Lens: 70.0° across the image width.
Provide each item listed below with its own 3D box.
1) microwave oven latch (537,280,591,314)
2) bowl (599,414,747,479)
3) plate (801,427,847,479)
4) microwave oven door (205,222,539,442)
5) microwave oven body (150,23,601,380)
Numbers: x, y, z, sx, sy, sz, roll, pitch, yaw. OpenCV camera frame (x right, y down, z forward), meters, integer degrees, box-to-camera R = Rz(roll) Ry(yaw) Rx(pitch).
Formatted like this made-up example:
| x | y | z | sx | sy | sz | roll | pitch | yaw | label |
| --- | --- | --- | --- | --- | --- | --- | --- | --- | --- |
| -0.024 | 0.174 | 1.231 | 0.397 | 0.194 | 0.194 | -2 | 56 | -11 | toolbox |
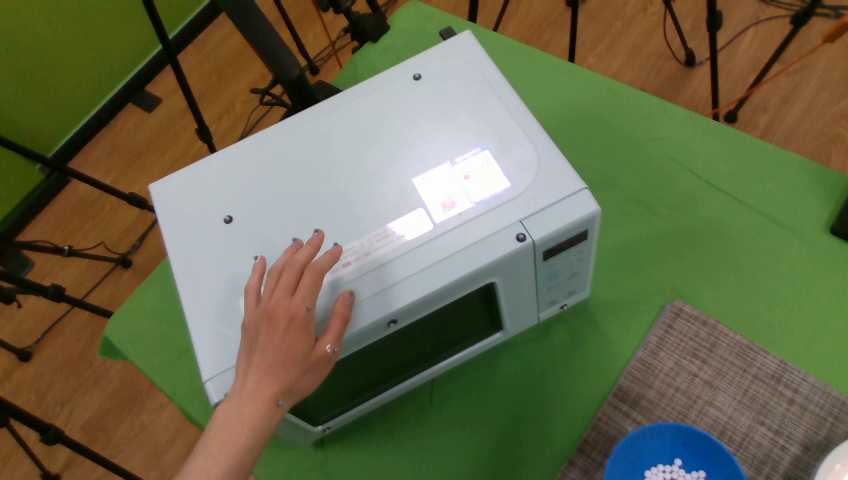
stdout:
| x | y | z | sx | sy | sz | roll | pitch | yaw | label |
| --- | --- | --- | --- | --- | --- | --- | --- | --- | --- |
| 0.182 | 0.067 | 0.802 | 0.079 | 0.030 | 0.030 | -26 | 62 | -1 | microwave oven latch |
| 0.268 | 0.276 | 0.670 | 0.151 | 0.077 | 0.150 | -5 | 62 | 9 | bowl |
| 0.505 | 0.297 | 0.635 | 0.207 | 0.039 | 0.206 | -4 | 63 | 9 | plate |
| -0.034 | 0.119 | 0.702 | 0.356 | 0.246 | 0.039 | -27 | 61 | -3 | microwave oven door |
| -0.056 | -0.010 | 0.778 | 0.442 | 0.262 | 0.322 | -27 | 62 | -2 | microwave oven body |
